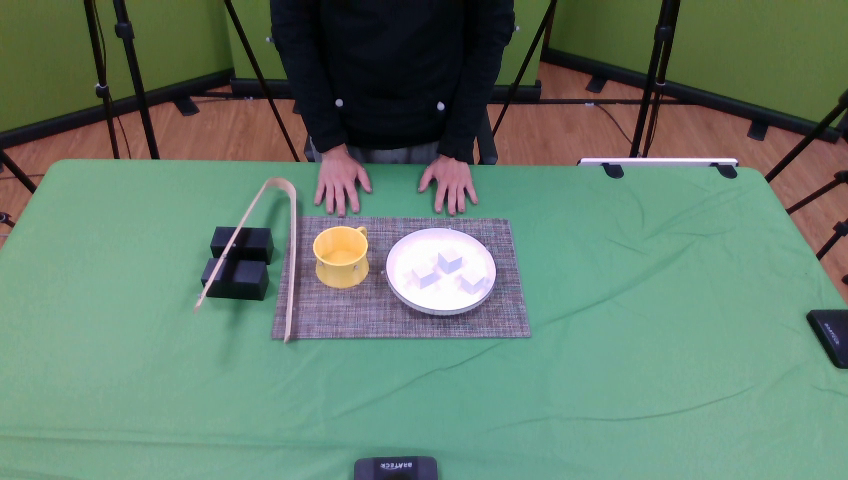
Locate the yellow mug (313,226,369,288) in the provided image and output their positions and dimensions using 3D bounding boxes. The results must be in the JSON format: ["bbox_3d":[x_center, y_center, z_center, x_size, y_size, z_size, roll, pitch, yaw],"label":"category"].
[{"bbox_3d":[-0.146,0.021,1.132,0.099,0.064,0.130,24,49,19],"label":"yellow mug"}]

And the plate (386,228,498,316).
[{"bbox_3d":[0.032,0.062,1.126,0.208,0.039,0.206,2,46,-2],"label":"plate"}]

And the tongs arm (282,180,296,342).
[{"bbox_3d":[-0.256,0.026,1.142,0.028,0.028,0.385,12,43,-23],"label":"tongs arm"}]

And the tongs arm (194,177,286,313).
[{"bbox_3d":[-0.328,-0.004,1.114,0.051,0.026,0.382,24,38,-15],"label":"tongs arm"}]
